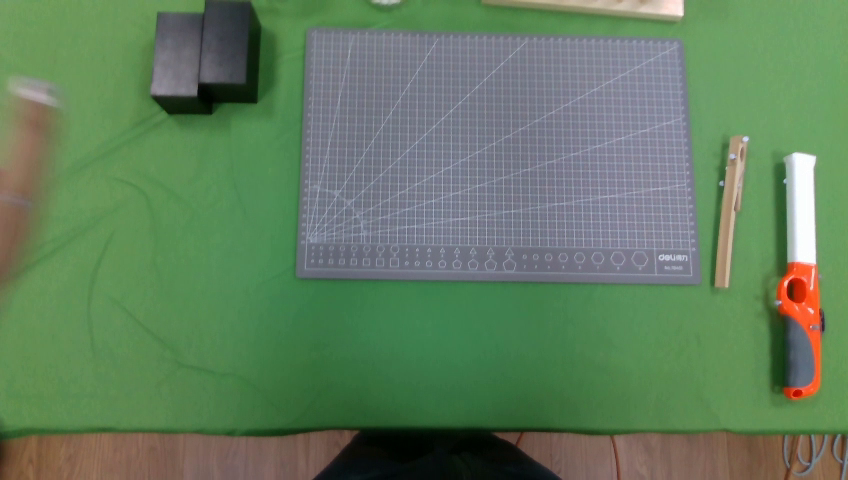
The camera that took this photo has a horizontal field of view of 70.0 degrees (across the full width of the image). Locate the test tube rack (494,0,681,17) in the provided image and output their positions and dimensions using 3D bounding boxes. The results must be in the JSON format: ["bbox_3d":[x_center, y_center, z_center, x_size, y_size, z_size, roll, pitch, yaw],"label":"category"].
[{"bbox_3d":[0.191,-0.322,0.701,0.242,0.085,0.066,5,80,-1],"label":"test tube rack"}]

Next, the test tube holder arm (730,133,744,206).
[{"bbox_3d":[0.356,-0.081,0.699,0.010,0.015,0.087,20,78,-33],"label":"test tube holder arm"}]

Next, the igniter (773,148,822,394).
[{"bbox_3d":[0.416,0.032,0.676,0.057,0.025,0.275,8,80,-11],"label":"igniter"}]

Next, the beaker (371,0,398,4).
[{"bbox_3d":[-0.047,-0.321,0.684,0.074,0.100,0.083,4,80,-1],"label":"beaker"}]

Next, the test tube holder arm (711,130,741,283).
[{"bbox_3d":[0.343,-0.039,0.689,0.013,0.015,0.178,18,79,-34],"label":"test tube holder arm"}]
